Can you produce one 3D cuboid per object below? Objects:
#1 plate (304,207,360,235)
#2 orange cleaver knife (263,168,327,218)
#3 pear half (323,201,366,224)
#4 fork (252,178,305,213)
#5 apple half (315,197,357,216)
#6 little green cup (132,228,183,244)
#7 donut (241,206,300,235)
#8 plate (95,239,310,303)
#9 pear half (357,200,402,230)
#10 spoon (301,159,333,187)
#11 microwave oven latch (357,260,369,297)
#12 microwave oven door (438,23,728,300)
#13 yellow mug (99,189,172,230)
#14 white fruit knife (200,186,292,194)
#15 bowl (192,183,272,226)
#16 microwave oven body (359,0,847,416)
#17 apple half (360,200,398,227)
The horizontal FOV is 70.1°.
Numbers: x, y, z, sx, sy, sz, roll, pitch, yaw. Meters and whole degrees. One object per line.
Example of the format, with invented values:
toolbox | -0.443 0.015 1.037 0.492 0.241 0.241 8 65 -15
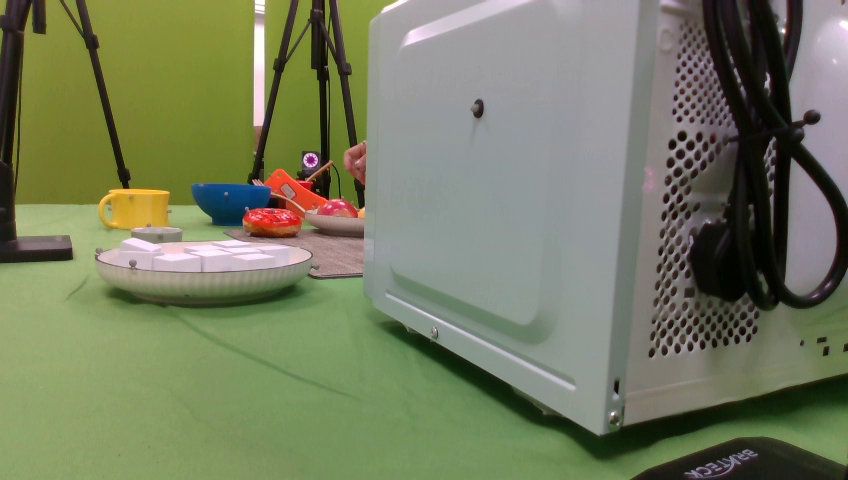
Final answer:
plate | -0.123 -0.037 1.148 0.209 0.038 0.209 2 7 0
orange cleaver knife | -0.263 -0.087 1.353 0.211 0.077 0.012 28 13 -1
pear half | -0.155 -0.058 1.198 0.088 0.031 0.070 14 33 -4
fork | -0.295 -0.084 1.292 0.206 0.018 0.028 29 10 25
apple half | -0.161 -0.052 1.121 0.081 0.053 0.074 4 7 -14
little green cup | -0.342 0.006 0.779 0.061 0.038 0.061 2 8 0
donut | -0.263 -0.031 1.039 0.099 0.048 0.099 4 10 0
plate | -0.224 0.031 0.629 0.208 0.039 0.207 2 8 0
pear half | -0.075 -0.047 1.132 0.076 0.056 0.110 12 7 31
spoon | -0.316 -0.159 1.639 0.194 0.022 0.041 -49 32 -20
microwave oven latch | -0.019 0.033 0.531 0.079 0.029 0.030 -1 7 -27
microwave oven door | 0.181 -0.072 0.621 0.358 0.243 0.039 -2 8 -29
yellow mug | -0.518 -0.055 1.080 0.099 0.064 0.131 6 9 26
white fruit knife | -0.399 -0.111 1.368 0.208 0.016 0.027 -4 -19 -30
bowl | -0.381 -0.071 1.202 0.151 0.077 0.151 3 7 0
microwave oven body | 0.211 -0.047 0.474 0.444 0.260 0.324 -1 7 -28
apple half | -0.087 -0.059 1.190 0.081 0.033 0.081 11 31 -6
